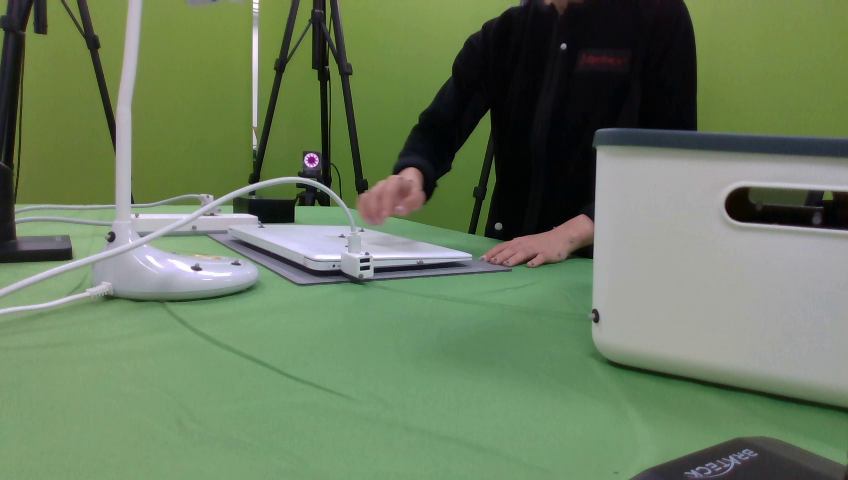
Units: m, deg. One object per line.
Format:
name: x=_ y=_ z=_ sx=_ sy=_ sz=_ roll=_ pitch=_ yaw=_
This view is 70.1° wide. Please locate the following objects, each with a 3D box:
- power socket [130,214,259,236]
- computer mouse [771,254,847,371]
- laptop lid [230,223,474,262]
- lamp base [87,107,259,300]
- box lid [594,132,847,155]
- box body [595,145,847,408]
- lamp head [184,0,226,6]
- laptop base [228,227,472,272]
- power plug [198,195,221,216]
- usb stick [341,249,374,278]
power socket: x=-0.397 y=-0.028 z=1.048 sx=0.228 sy=0.032 sz=0.072 roll=-3 pitch=7 yaw=-35
computer mouse: x=0.344 y=0.057 z=0.519 sx=0.063 sy=0.041 sz=0.117 roll=12 pitch=47 yaw=4
laptop lid: x=-0.121 y=0.000 z=0.888 sx=0.243 sy=0.013 sz=0.355 roll=1 pitch=7 yaw=-33
lamp base: x=-0.254 y=-0.039 z=0.603 sx=0.160 sy=0.180 sz=0.179 roll=5 pitch=10 yaw=18
box lid: x=0.311 y=-0.066 z=0.499 sx=0.262 sy=0.015 sz=0.373 roll=7 pitch=8 yaw=29
box body: x=0.309 y=0.006 z=0.509 sx=0.253 sy=0.160 sz=0.366 roll=6 pitch=8 yaw=29
lamp head: x=-0.229 y=-0.320 z=0.627 sx=0.112 sy=0.112 sz=0.123 roll=6 pitch=-35 yaw=26
laptop base: x=-0.124 y=0.011 z=0.889 sx=0.237 sy=0.023 sz=0.352 roll=2 pitch=6 yaw=-35
power plug: x=-0.386 y=-0.055 z=1.088 sx=0.035 sy=0.052 sz=0.072 roll=-2 pitch=6 yaw=-24
usb stick: x=-0.078 y=0.026 z=0.686 sx=0.021 sy=0.027 sz=0.059 roll=-8 pitch=8 yaw=-30
